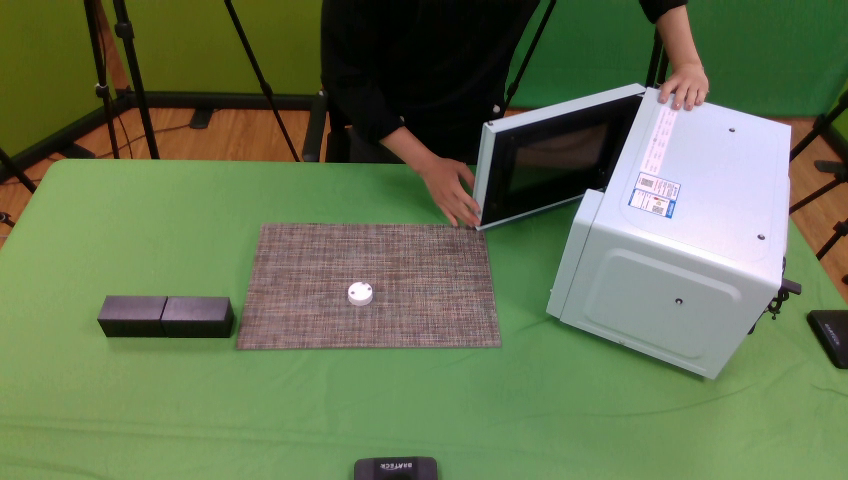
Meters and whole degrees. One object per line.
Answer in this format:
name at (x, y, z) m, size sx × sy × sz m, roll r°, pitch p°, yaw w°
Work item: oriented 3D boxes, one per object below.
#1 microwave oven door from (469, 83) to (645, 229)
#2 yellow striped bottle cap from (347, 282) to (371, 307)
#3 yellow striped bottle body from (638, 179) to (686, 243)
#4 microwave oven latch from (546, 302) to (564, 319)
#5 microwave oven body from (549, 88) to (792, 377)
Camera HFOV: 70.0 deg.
microwave oven door at (0.262, -0.166, 1.200) m, size 0.356 × 0.245 × 0.039 m, roll -18°, pitch 50°, yaw -20°
yellow striped bottle cap at (-0.117, 0.098, 1.093) m, size 0.044 × 0.019 × 0.044 m, roll 3°, pitch 45°, yaw -3°
yellow striped bottle body at (0.444, -0.057, 1.126) m, size 0.063 × 0.121 × 0.062 m, roll 0°, pitch 46°, yaw 0°
microwave oven latch at (0.242, 0.102, 1.081) m, size 0.030 × 0.029 × 0.079 m, roll 21°, pitch 48°, yaw 17°
microwave oven body at (0.456, -0.028, 1.088) m, size 0.325 × 0.261 × 0.440 m, roll 20°, pitch 47°, yaw 16°
